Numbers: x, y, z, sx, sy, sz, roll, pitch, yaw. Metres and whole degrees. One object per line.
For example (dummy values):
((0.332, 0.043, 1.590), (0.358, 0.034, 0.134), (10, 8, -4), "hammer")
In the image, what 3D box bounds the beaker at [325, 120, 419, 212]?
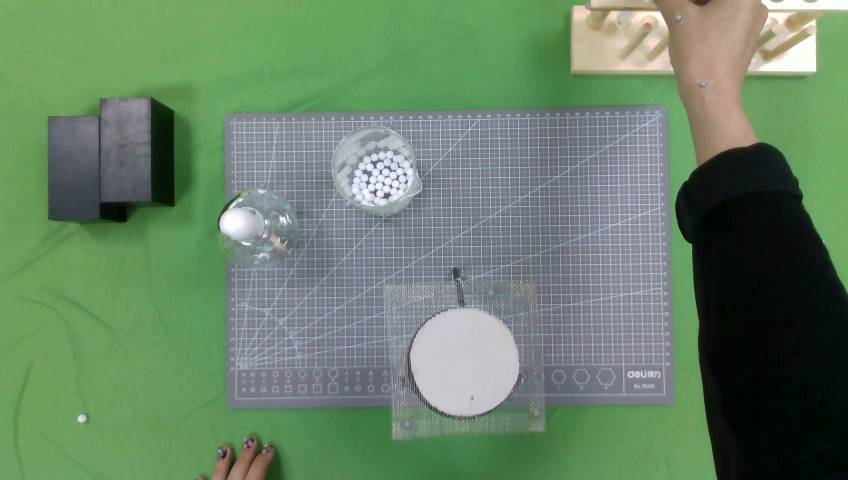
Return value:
((-0.042, -0.064, 0.570), (0.084, 0.100, 0.074), (24, 89, 1), "beaker")

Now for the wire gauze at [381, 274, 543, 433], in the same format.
((0.030, 0.089, 0.481), (0.125, 0.011, 0.121), (-3, 87, 0), "wire gauze")

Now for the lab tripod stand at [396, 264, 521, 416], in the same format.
((0.030, 0.094, 0.549), (0.148, 0.131, 0.148), (0, 87, 3), "lab tripod stand")

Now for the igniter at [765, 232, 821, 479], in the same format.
((0.366, 0.130, 0.598), (0.057, 0.025, 0.276), (3, 89, -9), "igniter")

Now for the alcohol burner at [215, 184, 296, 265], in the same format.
((-0.161, -0.016, 0.563), (0.078, 0.119, 0.078), (0, 86, 2), "alcohol burner")

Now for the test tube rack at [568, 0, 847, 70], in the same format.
((0.267, -0.209, 0.578), (0.242, 0.085, 0.066), (0, 88, 1), "test tube rack")

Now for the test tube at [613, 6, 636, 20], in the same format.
((0.194, -0.226, 0.525), (0.017, 0.150, 0.017), (0, 88, -2), "test tube")

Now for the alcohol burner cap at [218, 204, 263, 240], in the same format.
((-0.161, -0.017, 0.528), (0.034, 0.048, 0.034), (0, 90, -3), "alcohol burner cap")
